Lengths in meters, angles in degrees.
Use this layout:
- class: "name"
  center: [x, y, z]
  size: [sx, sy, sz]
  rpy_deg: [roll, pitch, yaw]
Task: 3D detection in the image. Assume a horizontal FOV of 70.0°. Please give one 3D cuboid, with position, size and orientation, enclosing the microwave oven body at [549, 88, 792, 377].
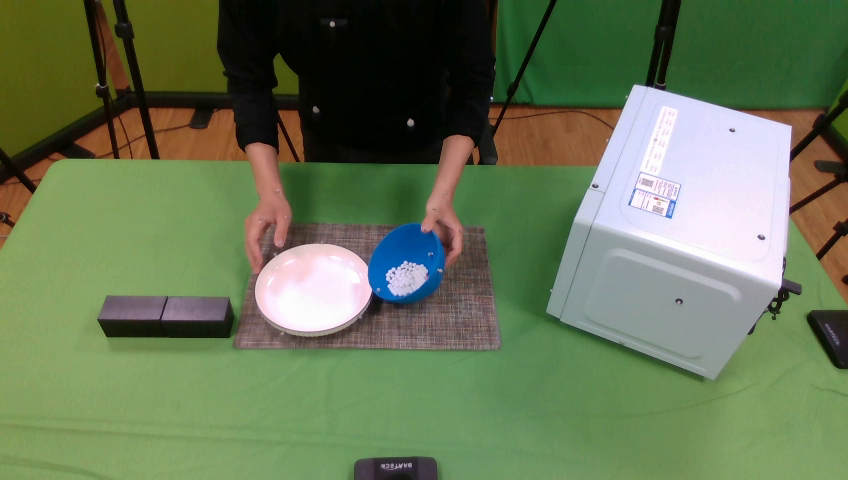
- class: "microwave oven body"
  center: [0.456, -0.028, 1.088]
  size: [0.325, 0.261, 0.440]
  rpy_deg: [20, 47, 16]

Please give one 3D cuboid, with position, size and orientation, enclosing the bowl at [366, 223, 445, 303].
- class: "bowl"
  center: [-0.019, 0.053, 1.073]
  size: [0.151, 0.077, 0.150]
  rpy_deg: [-19, 52, 25]

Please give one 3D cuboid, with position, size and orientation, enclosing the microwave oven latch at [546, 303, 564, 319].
- class: "microwave oven latch"
  center: [0.242, 0.102, 1.081]
  size: [0.030, 0.029, 0.079]
  rpy_deg: [21, 48, 17]

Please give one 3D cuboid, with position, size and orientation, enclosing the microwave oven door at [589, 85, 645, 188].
- class: "microwave oven door"
  center: [0.342, -0.107, 1.148]
  size: [0.039, 0.245, 0.354]
  rpy_deg: [20, 48, 15]

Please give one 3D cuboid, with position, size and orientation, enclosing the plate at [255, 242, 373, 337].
- class: "plate"
  center: [-0.192, 0.090, 1.080]
  size: [0.208, 0.039, 0.206]
  rpy_deg: [2, 46, -2]
